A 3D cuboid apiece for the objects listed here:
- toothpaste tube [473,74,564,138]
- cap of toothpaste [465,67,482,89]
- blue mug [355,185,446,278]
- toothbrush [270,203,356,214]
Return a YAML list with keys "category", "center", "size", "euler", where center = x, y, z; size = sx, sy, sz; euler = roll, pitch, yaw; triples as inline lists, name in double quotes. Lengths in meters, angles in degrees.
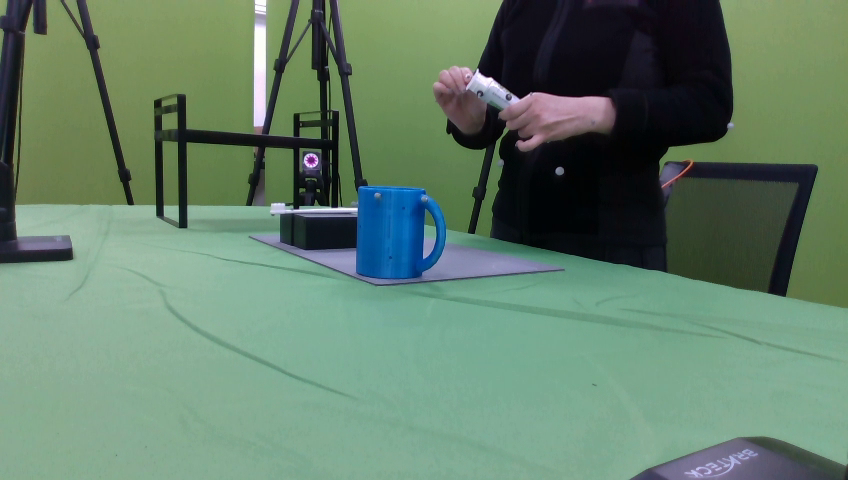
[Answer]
- category: "toothpaste tube"
  center: [0.143, -0.203, 0.926]
  size: [0.165, 0.034, 0.055]
  euler: [29, 18, -15]
- category: "cap of toothpaste"
  center: [0.075, -0.243, 0.908]
  size: [0.011, 0.037, 0.037]
  euler: [26, 0, -18]
- category: "blue mug"
  center: [-0.027, -0.011, 0.723]
  size: [0.116, 0.106, 0.083]
  euler: [6, 8, 27]
- category: "toothbrush"
  center: [-0.156, -0.050, 0.958]
  size: [0.183, 0.016, 0.014]
  euler: [-2, 2, -33]
